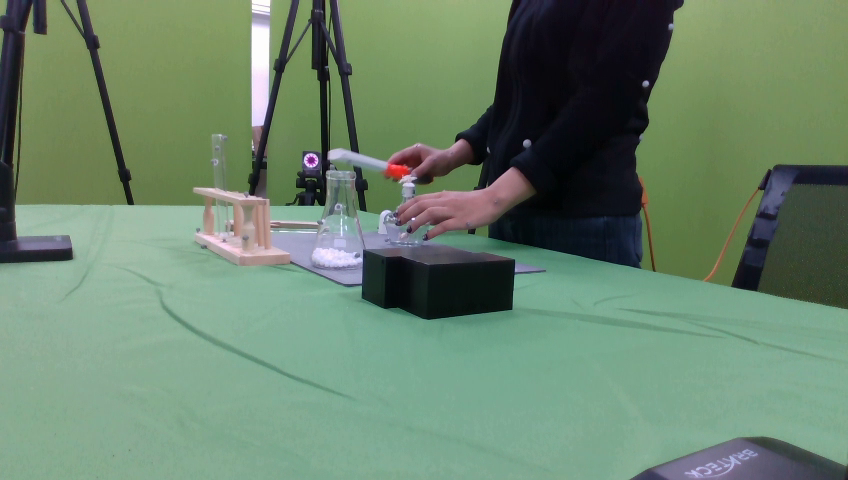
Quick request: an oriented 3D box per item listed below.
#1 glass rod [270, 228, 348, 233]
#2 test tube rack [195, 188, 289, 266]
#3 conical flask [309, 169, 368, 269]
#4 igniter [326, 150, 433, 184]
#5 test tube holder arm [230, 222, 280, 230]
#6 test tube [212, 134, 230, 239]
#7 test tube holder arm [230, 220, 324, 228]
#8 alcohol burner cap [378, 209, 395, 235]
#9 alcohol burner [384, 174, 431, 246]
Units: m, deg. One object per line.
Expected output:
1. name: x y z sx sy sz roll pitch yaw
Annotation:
1. glass rod: -0.234 -0.017 1.105 0.201 0.008 0.008 1 7 -26
2. test tube rack: -0.266 -0.025 0.864 0.067 0.085 0.241 -2 8 -33
3. conical flask: -0.107 -0.028 0.762 0.075 0.122 0.075 2 7 0
4. igniter: -0.078 -0.140 1.184 0.057 0.025 0.278 -1 -6 38
5. test tube holder arm: -0.312 -0.025 1.118 0.088 0.015 0.010 -1 43 -30
6. test tube: -0.290 -0.076 0.863 0.017 0.150 0.017 -2 6 0
7. test tube holder arm: -0.275 -0.030 1.144 0.179 0.015 0.013 -2 43 -31
8. alcohol burner cap: -0.070 -0.035 1.144 0.034 0.048 0.034 2 8 0
9. alcohol burner: -0.026 -0.049 0.993 0.078 0.119 0.078 2 9 0
